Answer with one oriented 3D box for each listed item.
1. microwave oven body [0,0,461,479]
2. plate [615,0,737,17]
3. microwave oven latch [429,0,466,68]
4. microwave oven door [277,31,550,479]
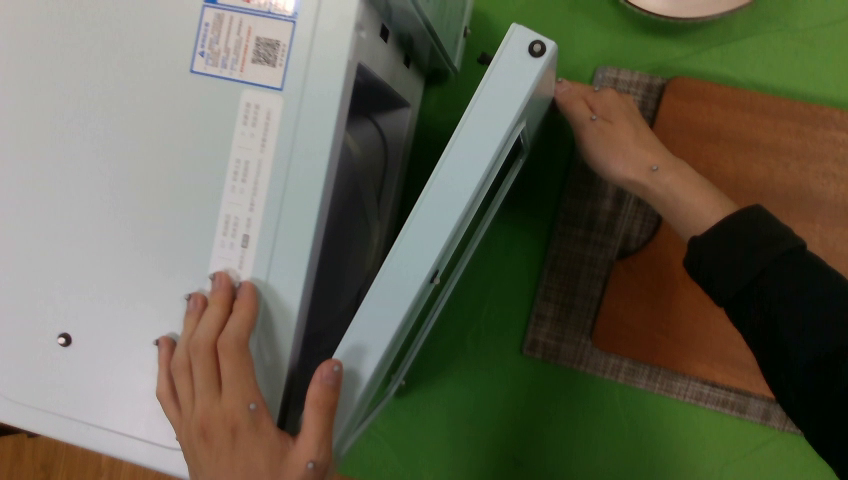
[{"bbox_3d":[-0.175,-0.065,0.533,0.325,0.260,0.442,12,96,9],"label":"microwave oven body"},{"bbox_3d":[0.239,-0.309,0.561,0.207,0.039,0.207,1,93,10],"label":"plate"},{"bbox_3d":[0.022,-0.210,0.587,0.030,0.029,0.079,13,96,9],"label":"microwave oven latch"},{"bbox_3d":[0.003,0.025,0.502,0.039,0.244,0.356,29,98,9],"label":"microwave oven door"}]
